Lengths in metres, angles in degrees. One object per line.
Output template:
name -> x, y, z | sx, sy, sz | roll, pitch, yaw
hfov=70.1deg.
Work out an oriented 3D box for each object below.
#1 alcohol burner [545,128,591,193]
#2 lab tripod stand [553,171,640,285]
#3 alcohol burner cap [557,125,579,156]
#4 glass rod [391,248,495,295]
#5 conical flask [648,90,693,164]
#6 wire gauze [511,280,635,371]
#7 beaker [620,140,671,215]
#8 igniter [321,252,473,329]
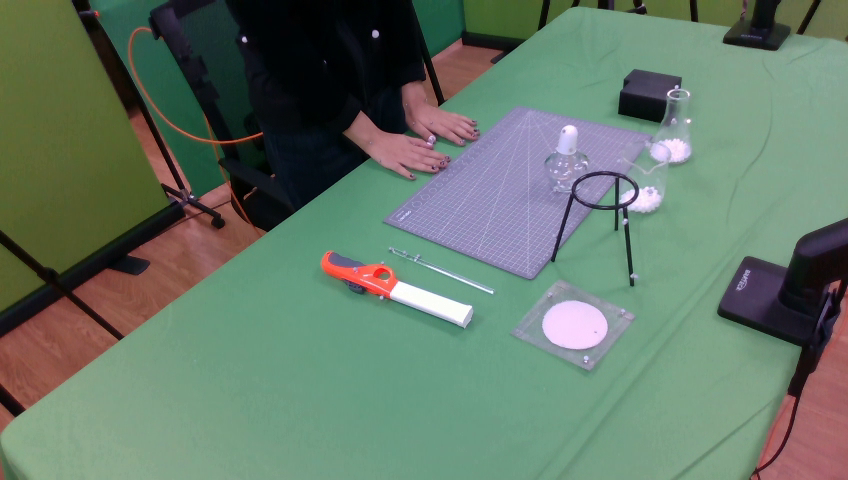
alcohol burner -> 0.245, -0.141, 1.028 | 0.078, 0.119, 0.077 | -5, 42, 5
lab tripod stand -> 0.260, -0.025, 0.877 | 0.148, 0.132, 0.147 | -6, 38, 5
alcohol burner cap -> 0.241, -0.167, 1.004 | 0.034, 0.048, 0.033 | 0, 39, 1
glass rod -> 0.025, 0.046, 0.936 | 0.198, 0.008, 0.008 | 22, 50, 32
conical flask -> 0.437, -0.199, 1.057 | 0.075, 0.122, 0.075 | -5, 40, 5
wire gauze -> 0.203, 0.114, 0.822 | 0.120, 0.011, 0.125 | 25, 52, 35
beaker -> 0.352, -0.096, 0.971 | 0.074, 0.101, 0.084 | 1, 42, 13
igniter -> -0.051, 0.071, 0.906 | 0.274, 0.025, 0.057 | 18, 57, 29
